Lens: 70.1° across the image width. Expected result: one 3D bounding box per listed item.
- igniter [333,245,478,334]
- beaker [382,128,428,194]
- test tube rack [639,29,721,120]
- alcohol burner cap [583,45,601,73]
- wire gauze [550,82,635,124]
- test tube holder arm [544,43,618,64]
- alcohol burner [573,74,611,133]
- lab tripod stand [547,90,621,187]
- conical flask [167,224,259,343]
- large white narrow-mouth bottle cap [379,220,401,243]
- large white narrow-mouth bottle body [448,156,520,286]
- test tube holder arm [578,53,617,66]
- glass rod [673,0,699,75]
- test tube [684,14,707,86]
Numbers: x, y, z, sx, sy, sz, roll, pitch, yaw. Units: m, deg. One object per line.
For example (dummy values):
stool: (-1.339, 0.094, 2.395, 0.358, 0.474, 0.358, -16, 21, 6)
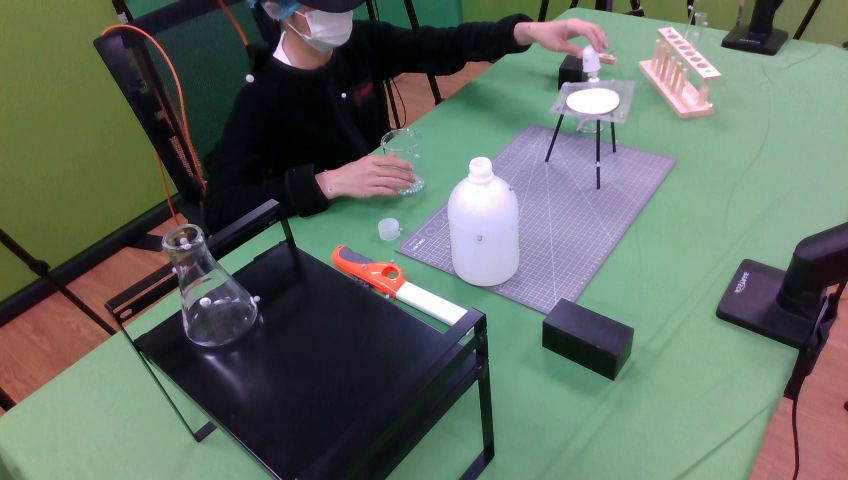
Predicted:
igniter: (-0.039, 0.068, 0.905, 0.274, 0.025, 0.057, 24, 61, 32)
beaker: (-0.030, -0.142, 1.096, 0.073, 0.101, 0.084, 14, 44, 23)
test tube rack: (0.527, -0.351, 1.262, 0.067, 0.085, 0.241, -8, 40, 2)
alcohol burner cap: (0.313, -0.341, 1.135, 0.034, 0.048, 0.033, -13, 27, 7)
wire gauze: (0.285, -0.236, 1.020, 0.124, 0.011, 0.121, 10, 44, 22)
test tube holder arm: (0.345, -0.413, 1.341, 0.177, 0.015, 0.013, 26, 48, 32)
alcohol burner: (0.330, -0.270, 1.177, 0.078, 0.119, 0.077, -4, 43, 4)
lab tripod stand: (0.289, -0.184, 1.062, 0.148, 0.132, 0.147, -6, 41, 6)
conical flask: (-0.220, 0.041, 0.613, 0.075, 0.122, 0.075, -5, 40, 4)
large white narrow-mouth bottle cap: (-0.057, -0.015, 1.012, 0.038, 0.024, 0.037, -4, 40, 4)
large white narrow-mouth bottle body: (0.086, -0.032, 0.869, 0.102, 0.195, 0.101, -4, 40, 4)
test tube holder arm: (0.376, -0.394, 1.314, 0.087, 0.015, 0.010, 26, 48, 32)
glass rod: (0.541, -0.427, 1.246, 0.008, 0.200, 0.008, 0, 48, 1)
test tube: (0.541, -0.379, 1.216, 0.017, 0.151, 0.017, -2, 44, 2)
